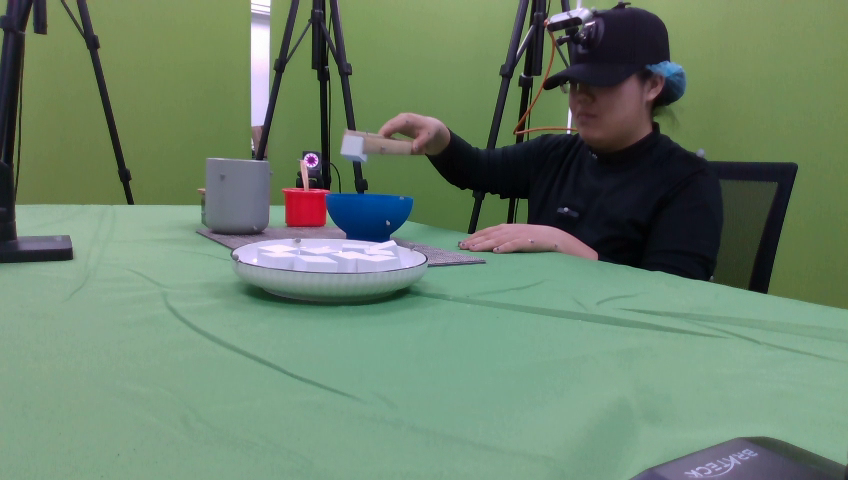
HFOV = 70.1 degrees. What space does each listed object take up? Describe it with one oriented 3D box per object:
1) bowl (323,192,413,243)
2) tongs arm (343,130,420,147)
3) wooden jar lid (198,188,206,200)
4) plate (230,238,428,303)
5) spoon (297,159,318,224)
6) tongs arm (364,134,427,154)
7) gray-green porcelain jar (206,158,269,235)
[{"bbox_3d":[-0.094,-0.037,1.015,0.151,0.077,0.151,2,7,0],"label":"bowl"},{"bbox_3d":[-0.068,-0.180,1.120,0.051,0.026,0.385,12,10,8],"label":"tongs arm"},{"bbox_3d":[-0.382,-0.088,1.175,0.108,0.020,0.108,3,8,0],"label":"wooden jar lid"},{"bbox_3d":[-0.099,0.032,0.651,0.209,0.038,0.209,3,8,0],"label":"plate"},{"bbox_3d":[-0.244,-0.103,1.251,0.042,0.021,0.193,1,51,-17],"label":"spoon"},{"bbox_3d":[-0.045,-0.174,1.115,0.028,0.028,0.388,9,9,13],"label":"tongs arm"},{"bbox_3d":[-0.322,-0.076,1.048,0.106,0.126,0.106,3,7,0],"label":"gray-green porcelain jar"}]
